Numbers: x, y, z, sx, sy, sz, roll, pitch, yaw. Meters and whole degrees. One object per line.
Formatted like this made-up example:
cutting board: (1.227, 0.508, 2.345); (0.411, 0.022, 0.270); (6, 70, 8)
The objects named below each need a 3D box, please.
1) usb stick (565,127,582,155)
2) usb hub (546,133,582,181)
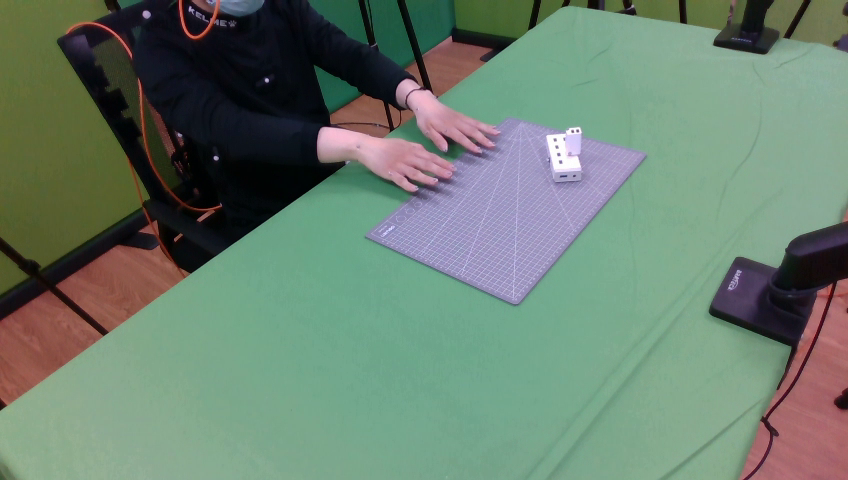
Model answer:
usb stick: (0.266, -0.170, 1.077); (0.027, 0.059, 0.021); (-3, 40, 2)
usb hub: (0.255, -0.153, 1.103); (0.049, 0.025, 0.124); (-3, 41, 4)
